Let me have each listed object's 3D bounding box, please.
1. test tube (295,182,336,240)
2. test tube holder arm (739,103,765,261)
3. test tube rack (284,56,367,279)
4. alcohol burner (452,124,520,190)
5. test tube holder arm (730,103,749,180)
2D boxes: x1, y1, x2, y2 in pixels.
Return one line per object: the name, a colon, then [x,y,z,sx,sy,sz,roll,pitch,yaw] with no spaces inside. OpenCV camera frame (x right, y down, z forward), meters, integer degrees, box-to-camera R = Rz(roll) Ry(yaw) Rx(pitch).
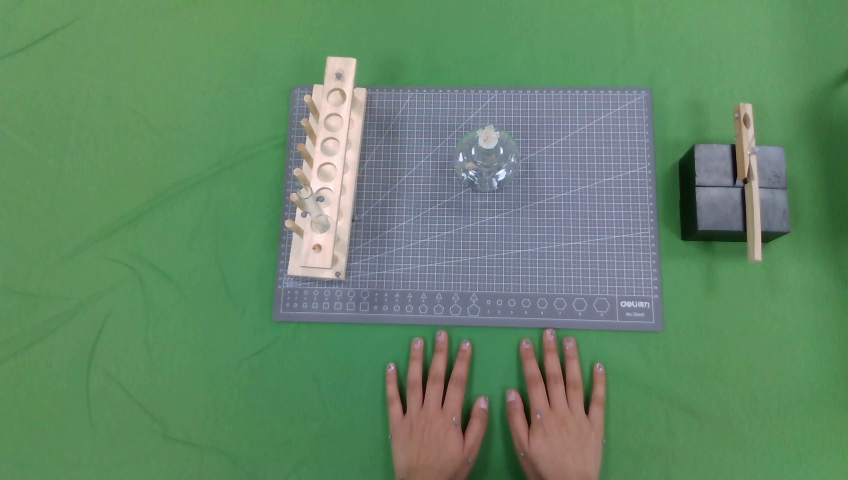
test tube: [-0.112,-0.025,0.638,0.017,0.151,0.017,0,73,1]
test tube holder arm: [0.358,-0.065,0.665,0.013,0.015,0.177,-1,78,-3]
test tube rack: [-0.119,-0.083,0.701,0.067,0.085,0.241,5,78,4]
alcohol burner: [0.070,-0.099,0.682,0.078,0.119,0.077,-1,79,4]
test tube holder arm: [0.352,-0.109,0.674,0.010,0.015,0.087,0,78,-2]
